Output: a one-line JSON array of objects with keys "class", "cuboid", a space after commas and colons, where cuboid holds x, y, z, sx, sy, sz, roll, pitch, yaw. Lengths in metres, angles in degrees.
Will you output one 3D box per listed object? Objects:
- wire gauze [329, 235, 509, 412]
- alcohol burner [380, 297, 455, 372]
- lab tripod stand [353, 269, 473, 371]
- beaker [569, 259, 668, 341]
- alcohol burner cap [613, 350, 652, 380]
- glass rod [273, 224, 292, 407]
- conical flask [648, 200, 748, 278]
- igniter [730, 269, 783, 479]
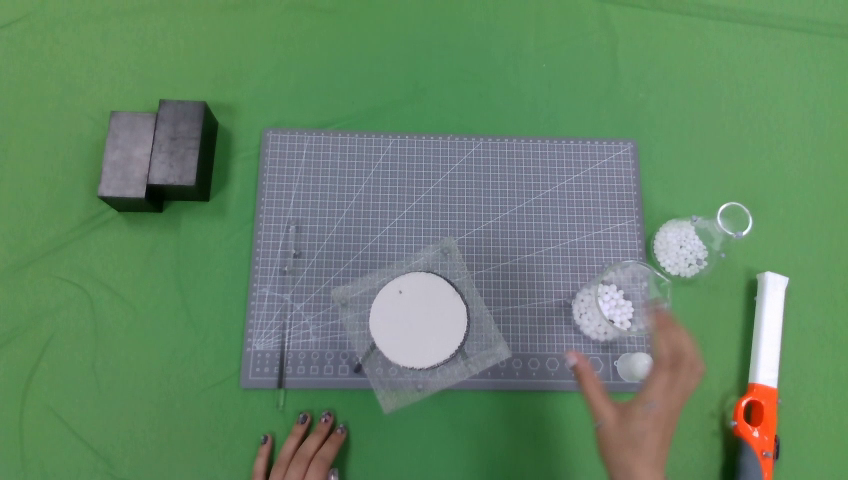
[{"class": "wire gauze", "cuboid": [-0.005, 0.072, 0.536, 0.125, 0.011, 0.121, -24, 79, -8]}, {"class": "alcohol burner", "cuboid": [-0.007, 0.092, 0.611, 0.078, 0.119, 0.077, 0, 74, -1]}, {"class": "lab tripod stand", "cuboid": [-0.010, 0.089, 0.601, 0.148, 0.132, 0.147, 1, 77, -2]}, {"class": "beaker", "cuboid": [0.200, 0.066, 0.637, 0.084, 0.100, 0.073, -22, 77, -9]}, {"class": "alcohol burner cap", "cuboid": [0.227, 0.133, 0.651, 0.034, 0.048, 0.033, 1, 75, -3]}, {"class": "glass rod", "cuboid": [-0.153, 0.079, 0.660, 0.008, 0.008, 0.199, 2, 78, -3]}, {"class": "conical flask", "cuboid": [0.298, -0.006, 0.653, 0.075, 0.122, 0.075, 1, 74, -2]}, {"class": "igniter", "cuboid": [0.363, 0.166, 0.660, 0.057, 0.025, 0.275, 17, 75, -9]}]
